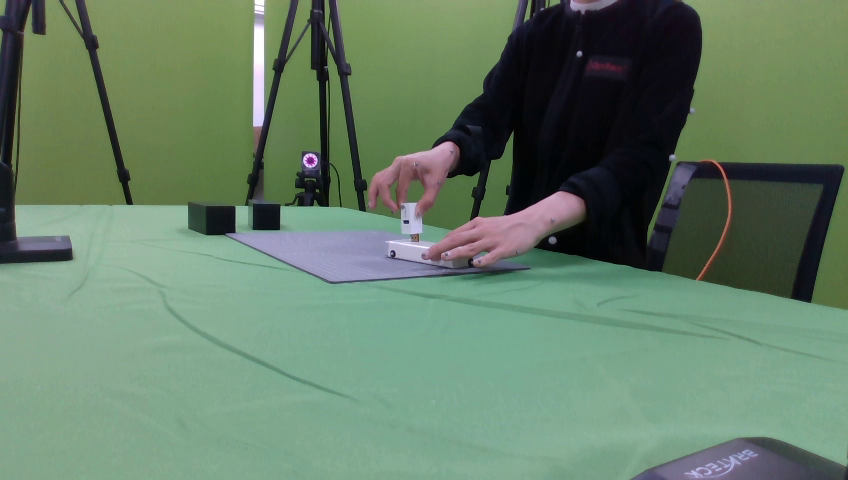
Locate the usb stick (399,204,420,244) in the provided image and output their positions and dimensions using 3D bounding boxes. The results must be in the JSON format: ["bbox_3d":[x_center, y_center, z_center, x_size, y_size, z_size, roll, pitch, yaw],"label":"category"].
[{"bbox_3d":[-0.020,-0.022,0.861,0.021,0.059,0.027,7,13,36],"label":"usb stick"}]

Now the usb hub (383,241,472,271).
[{"bbox_3d":[0.003,0.020,0.842,0.124,0.025,0.050,8,9,39],"label":"usb hub"}]
